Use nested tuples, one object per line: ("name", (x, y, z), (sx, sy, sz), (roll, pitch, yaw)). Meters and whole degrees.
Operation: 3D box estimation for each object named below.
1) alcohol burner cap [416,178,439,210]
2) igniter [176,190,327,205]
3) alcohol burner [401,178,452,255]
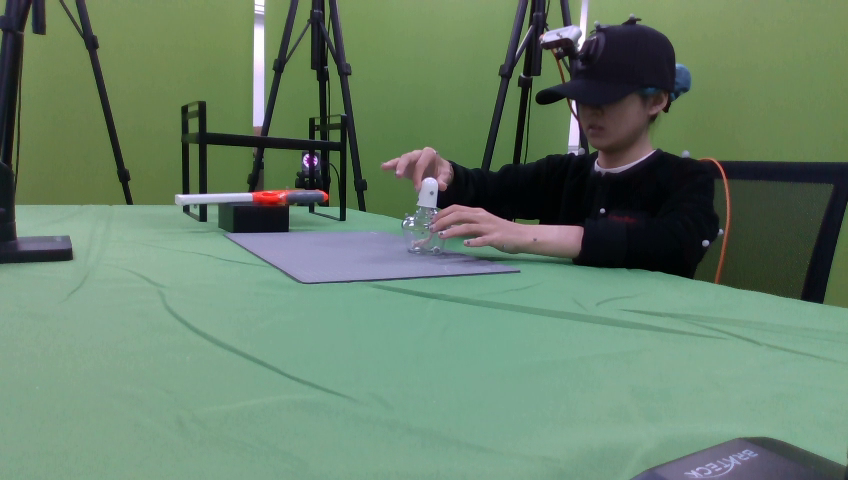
("alcohol burner cap", (0.007, -0.071, 0.917), (0.034, 0.048, 0.034), (7, 5, 0))
("igniter", (-0.316, -0.080, 1.137), (0.278, 0.025, 0.057), (-4, 12, -33))
("alcohol burner", (0.005, -0.036, 0.922), (0.078, 0.119, 0.078), (4, 7, 0))
